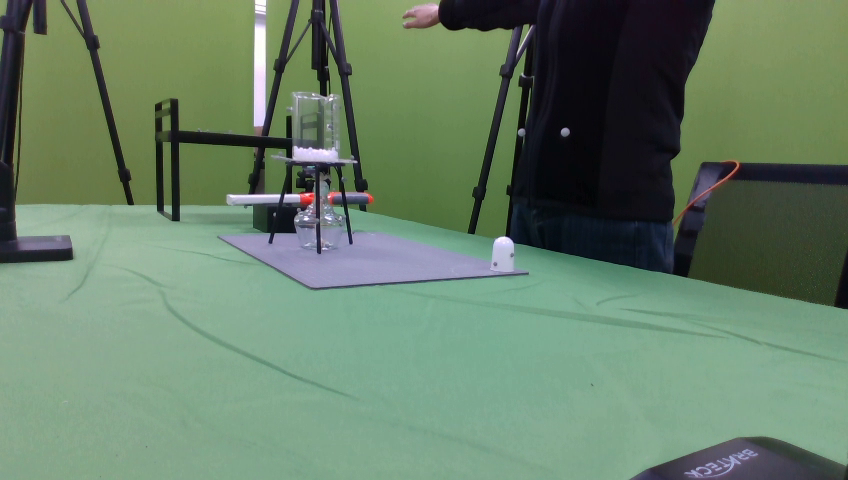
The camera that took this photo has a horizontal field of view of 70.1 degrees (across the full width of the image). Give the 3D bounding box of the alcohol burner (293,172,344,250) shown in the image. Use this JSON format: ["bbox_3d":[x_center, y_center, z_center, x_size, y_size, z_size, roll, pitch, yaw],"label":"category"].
[{"bbox_3d":[-0.159,-0.045,0.921,0.078,0.119,0.078,5,7,0],"label":"alcohol burner"}]

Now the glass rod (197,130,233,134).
[{"bbox_3d":[-0.450,-0.232,1.294,0.008,0.008,0.198,-4,10,-40],"label":"glass rod"}]

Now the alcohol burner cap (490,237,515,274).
[{"bbox_3d":[0.104,0.020,0.793,0.034,0.048,0.034,2,7,0],"label":"alcohol burner cap"}]

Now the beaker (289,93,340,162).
[{"bbox_3d":[-0.162,-0.167,0.908,0.074,0.100,0.083,-4,10,-31],"label":"beaker"}]

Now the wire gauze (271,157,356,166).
[{"bbox_3d":[-0.167,-0.120,0.917,0.125,0.011,0.121,-2,6,-8],"label":"wire gauze"}]

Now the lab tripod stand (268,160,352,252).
[{"bbox_3d":[-0.171,-0.055,0.921,0.148,0.131,0.148,1,9,0],"label":"lab tripod stand"}]

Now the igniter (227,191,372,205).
[{"bbox_3d":[-0.232,-0.080,1.161,0.278,0.025,0.057,-3,12,-28],"label":"igniter"}]
